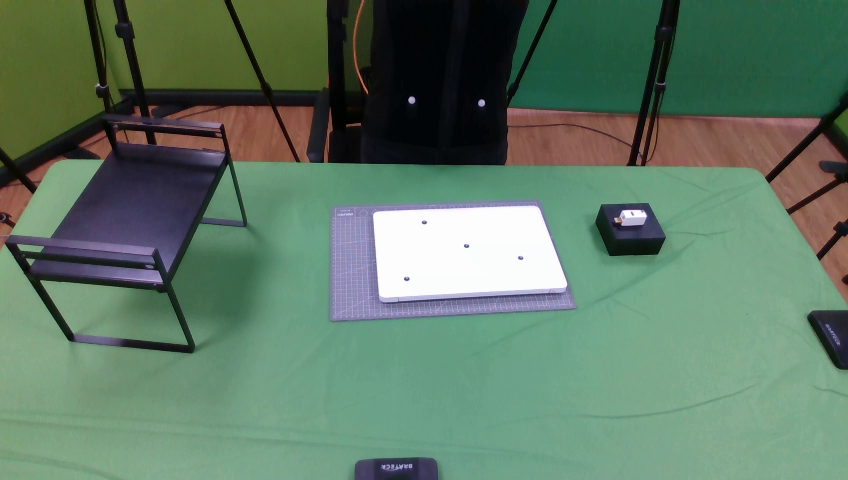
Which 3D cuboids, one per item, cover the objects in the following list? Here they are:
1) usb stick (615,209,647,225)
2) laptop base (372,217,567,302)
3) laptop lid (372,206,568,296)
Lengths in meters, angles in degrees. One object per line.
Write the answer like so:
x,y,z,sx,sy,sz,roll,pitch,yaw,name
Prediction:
0.407,-0.045,1.195,0.059,0.027,0.021,-4,49,-4,usb stick
0.081,0.024,1.181,0.355,0.023,0.234,-3,43,-6,laptop base
0.081,0.014,1.174,0.357,0.013,0.240,-1,44,-5,laptop lid
